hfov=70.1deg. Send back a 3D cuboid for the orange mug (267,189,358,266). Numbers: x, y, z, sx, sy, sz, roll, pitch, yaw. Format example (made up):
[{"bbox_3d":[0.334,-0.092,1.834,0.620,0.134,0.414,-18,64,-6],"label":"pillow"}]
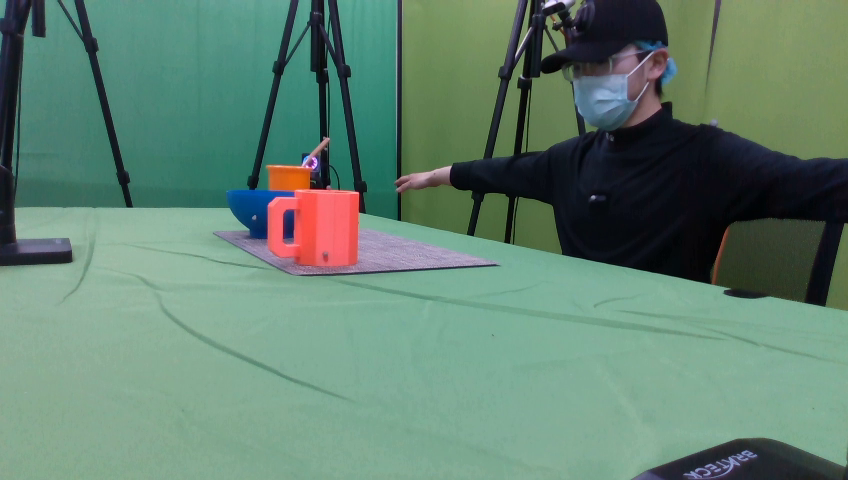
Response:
[{"bbox_3d":[-0.145,-0.019,0.797,0.127,0.100,0.083,2,6,-37],"label":"orange mug"}]

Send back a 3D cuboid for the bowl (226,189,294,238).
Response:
[{"bbox_3d":[-0.264,-0.046,1.050,0.151,0.077,0.151,2,7,0],"label":"bowl"}]

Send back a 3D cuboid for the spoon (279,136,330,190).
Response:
[{"bbox_3d":[-0.245,-0.150,1.234,0.041,0.194,0.022,8,-35,33],"label":"spoon"}]
